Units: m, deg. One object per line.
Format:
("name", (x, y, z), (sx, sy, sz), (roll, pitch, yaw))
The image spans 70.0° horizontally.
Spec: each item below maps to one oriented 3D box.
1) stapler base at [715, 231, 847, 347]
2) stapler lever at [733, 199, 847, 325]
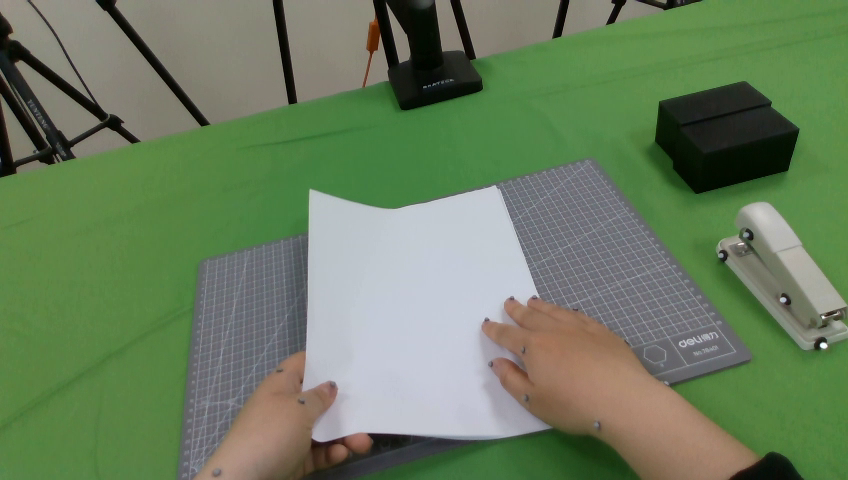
("stapler base", (0.296, 0.030, 0.505), (0.041, 0.025, 0.129), (-17, 43, -3))
("stapler lever", (0.293, 0.013, 0.487), (0.027, 0.040, 0.116), (-17, 44, -2))
